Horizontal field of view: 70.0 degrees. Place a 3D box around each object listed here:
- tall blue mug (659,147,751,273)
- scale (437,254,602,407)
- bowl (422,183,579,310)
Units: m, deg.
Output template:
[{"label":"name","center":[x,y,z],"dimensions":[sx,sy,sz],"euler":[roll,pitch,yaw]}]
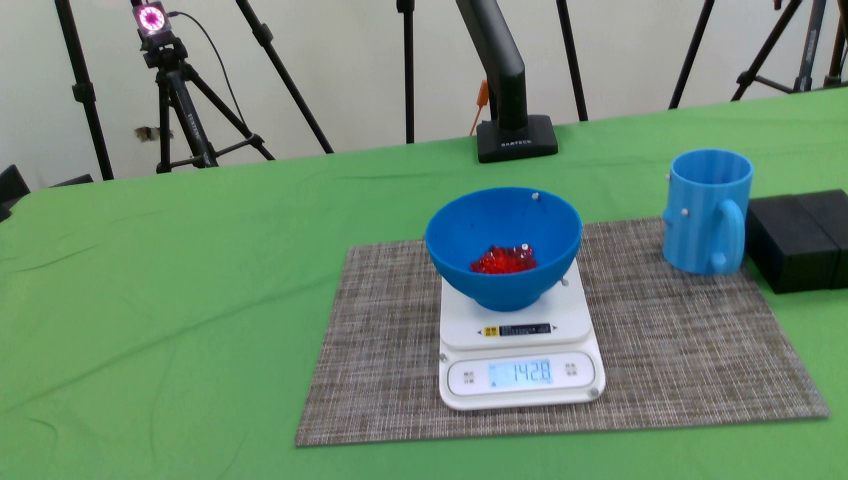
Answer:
[{"label":"tall blue mug","center":[0.298,-0.025,0.623],"dimensions":[0.078,0.109,0.106],"euler":[-24,37,-19]},{"label":"scale","center":[0.088,0.076,0.605],"dimensions":[0.148,0.032,0.199],"euler":[-6,36,7]},{"label":"bowl","center":[0.077,0.015,0.599],"dimensions":[0.151,0.077,0.150],"euler":[-6,36,5]}]
